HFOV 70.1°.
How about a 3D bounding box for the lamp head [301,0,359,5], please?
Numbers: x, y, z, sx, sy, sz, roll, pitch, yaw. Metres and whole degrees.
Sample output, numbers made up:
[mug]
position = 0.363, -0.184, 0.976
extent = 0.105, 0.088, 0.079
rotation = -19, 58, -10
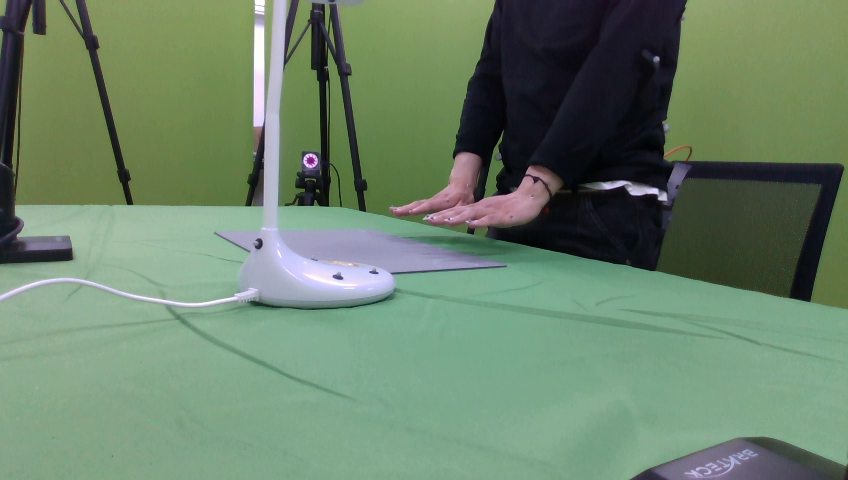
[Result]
[lamp head]
position = -0.095, -0.314, 0.610
extent = 0.112, 0.123, 0.112
rotation = -4, 50, 5

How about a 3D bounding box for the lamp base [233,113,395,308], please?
[lamp base]
position = -0.113, -0.033, 0.600
extent = 0.160, 0.180, 0.180
rotation = 6, 11, 28
